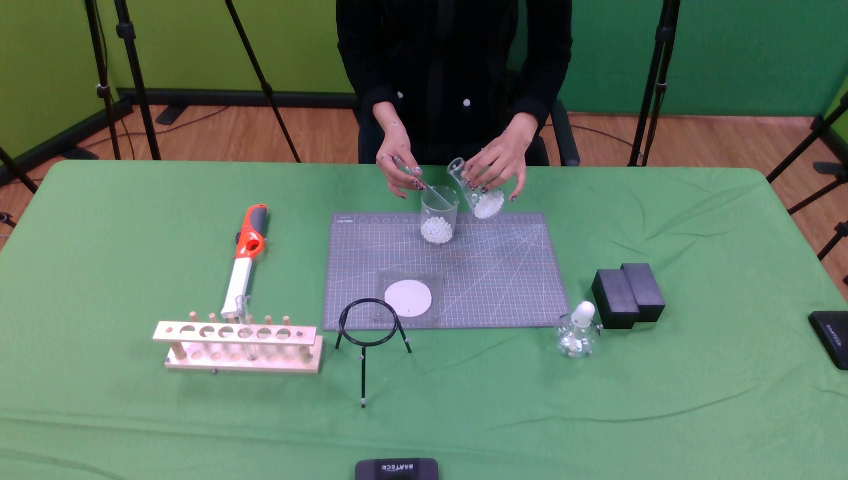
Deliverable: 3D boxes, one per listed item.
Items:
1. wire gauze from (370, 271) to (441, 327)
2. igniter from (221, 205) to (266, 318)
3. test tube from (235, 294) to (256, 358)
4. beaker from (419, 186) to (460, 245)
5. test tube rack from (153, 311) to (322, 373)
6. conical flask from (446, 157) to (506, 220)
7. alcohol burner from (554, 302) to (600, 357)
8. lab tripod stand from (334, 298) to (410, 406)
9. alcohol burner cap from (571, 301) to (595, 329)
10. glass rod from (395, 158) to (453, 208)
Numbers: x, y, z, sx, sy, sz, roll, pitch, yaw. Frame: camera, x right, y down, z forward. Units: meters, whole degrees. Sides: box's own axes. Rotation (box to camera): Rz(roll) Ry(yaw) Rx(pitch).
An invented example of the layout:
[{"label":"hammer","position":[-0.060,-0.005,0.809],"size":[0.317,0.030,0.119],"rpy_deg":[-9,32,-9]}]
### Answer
[{"label":"wire gauze","position":[-0.032,0.103,1.104],"size":[0.125,0.011,0.121],"rpy_deg":[4,46,3]},{"label":"igniter","position":[-0.337,0.030,1.140],"size":[0.057,0.025,0.274],"rpy_deg":[-5,46,3]},{"label":"test tube","position":[-0.274,0.136,0.933],"size":[0.017,0.151,0.017],"rpy_deg":[4,46,-4]},{"label":"beaker","position":[0.025,-0.047,1.191],"size":[0.074,0.101,0.083],"rpy_deg":[-29,54,-29]},{"label":"test tube rack","position":[-0.293,0.160,0.978],"size":[0.242,0.085,0.066],"rpy_deg":[3,46,-2]},{"label":"conical flask","position":[0.091,-0.100,1.127],"size":[0.075,0.122,0.075],"rpy_deg":[-33,31,22]},{"label":"alcohol burner","position":[0.260,0.143,1.018],"size":[0.078,0.119,0.077],"rpy_deg":[3,45,-3]},{"label":"lab tripod stand","position":[-0.085,0.164,0.957],"size":[0.148,0.132,0.147],"rpy_deg":[3,44,-2]},{"label":"alcohol burner cap","position":[0.262,0.120,0.991],"size":[0.034,0.048,0.033],"rpy_deg":[2,52,-2]},{"label":"glass rod","position":[0.005,-0.102,1.117],"size":[0.008,0.201,0.008],"rpy_deg":[-15,60,28]}]
